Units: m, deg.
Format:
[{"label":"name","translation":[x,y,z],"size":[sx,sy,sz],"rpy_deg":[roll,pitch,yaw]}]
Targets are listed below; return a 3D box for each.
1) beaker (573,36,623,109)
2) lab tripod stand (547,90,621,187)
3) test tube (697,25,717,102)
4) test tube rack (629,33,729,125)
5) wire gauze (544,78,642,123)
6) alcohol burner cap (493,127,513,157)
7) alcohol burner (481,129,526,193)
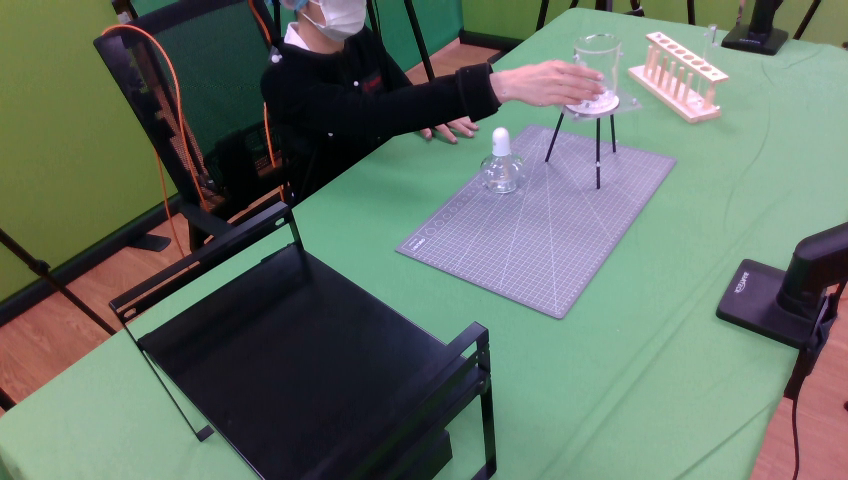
[{"label":"beaker","translation":[0.280,-0.274,0.992],"size":[0.074,0.101,0.083],"rpy_deg":[-13,39,-6]},{"label":"lab tripod stand","translation":[0.289,-0.184,1.062],"size":[0.148,0.132,0.147],"rpy_deg":[-6,41,6]},{"label":"test tube","translation":[0.546,-0.337,1.166],"size":[0.017,0.151,0.017],"rpy_deg":[-5,36,4]},{"label":"test tube rack","translation":[0.516,-0.337,1.247],"size":[0.067,0.085,0.240],"rpy_deg":[-14,41,-7]},{"label":"wire gauze","translation":[0.282,-0.235,1.021],"size":[0.125,0.011,0.120],"rpy_deg":[-16,38,-4]},{"label":"alcohol burner cap","translation":[0.133,-0.169,1.029],"size":[0.034,0.048,0.033],"rpy_deg":[-7,33,5]},{"label":"alcohol burner","translation":[0.138,-0.142,1.052],"size":[0.078,0.119,0.077],"rpy_deg":[-5,42,5]}]
